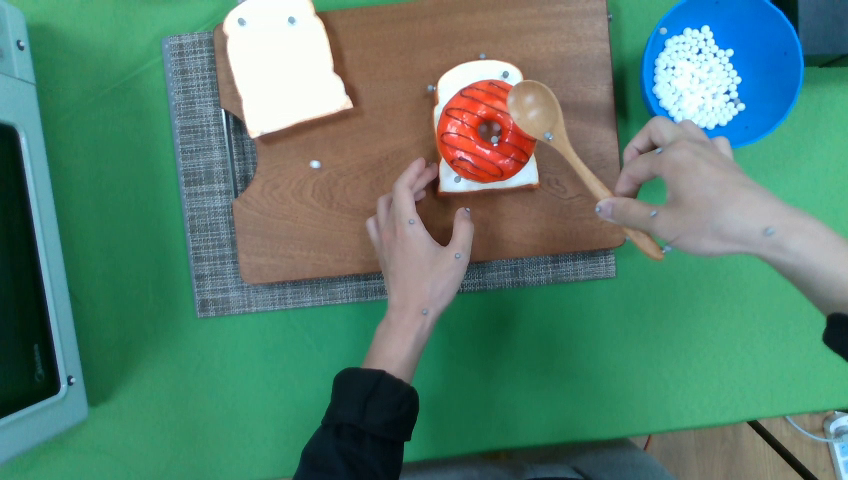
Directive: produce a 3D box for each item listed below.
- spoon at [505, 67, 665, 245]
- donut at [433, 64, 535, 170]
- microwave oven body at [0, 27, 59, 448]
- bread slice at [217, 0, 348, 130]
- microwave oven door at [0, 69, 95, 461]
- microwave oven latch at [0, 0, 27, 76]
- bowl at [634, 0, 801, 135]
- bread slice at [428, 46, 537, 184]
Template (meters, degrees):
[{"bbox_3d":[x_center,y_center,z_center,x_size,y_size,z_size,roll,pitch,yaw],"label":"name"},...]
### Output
[{"bbox_3d":[0.126,-0.069,0.486,0.041,0.022,0.192,-41,61,17],"label":"spoon"},{"bbox_3d":[0.057,-0.116,0.577,0.099,0.048,0.099,0,94,1],"label":"donut"},{"bbox_3d":[-0.550,-0.004,0.528,0.326,0.260,0.442,-9,94,1],"label":"microwave oven body"},{"bbox_3d":[-0.148,-0.186,0.605,0.107,0.018,0.134,-21,92,1],"label":"bread slice"},{"bbox_3d":[-0.399,0.015,0.522,0.039,0.243,0.356,-9,93,2],"label":"microwave oven door"},{"bbox_3d":[-0.429,-0.206,0.611,0.030,0.029,0.079,-9,94,1],"label":"microwave oven latch"},{"bbox_3d":[0.274,-0.175,0.598,0.151,0.077,0.151,0,94,2],"label":"bowl"},{"bbox_3d":[0.054,-0.126,0.606,0.105,0.019,0.131,-7,94,0],"label":"bread slice"}]
